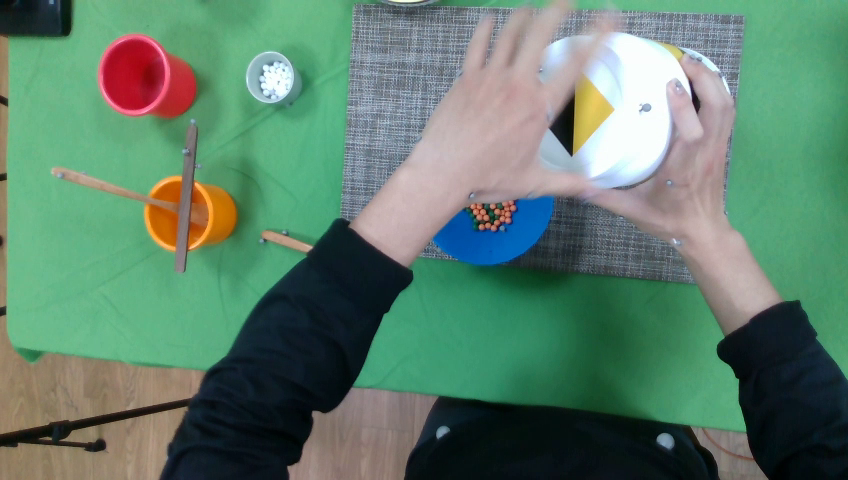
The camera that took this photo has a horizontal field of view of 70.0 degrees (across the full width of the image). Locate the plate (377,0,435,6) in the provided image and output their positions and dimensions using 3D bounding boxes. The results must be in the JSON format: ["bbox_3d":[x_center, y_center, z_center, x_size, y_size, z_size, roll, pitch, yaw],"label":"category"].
[{"bbox_3d":[-0.016,-0.377,0.710,0.209,0.038,0.209,1,94,10],"label":"plate"}]

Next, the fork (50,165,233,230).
[{"bbox_3d":[-0.334,-0.050,0.731,0.209,0.018,0.028,19,101,-35],"label":"fork"}]

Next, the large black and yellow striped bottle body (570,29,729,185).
[{"bbox_3d":[0.180,-0.117,0.550,0.130,0.185,0.131,10,104,43],"label":"large black and yellow striped bottle body"}]

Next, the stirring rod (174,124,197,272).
[{"bbox_3d":[-0.283,-0.049,0.719,0.014,0.006,0.176,7,95,8],"label":"stirring rod"}]

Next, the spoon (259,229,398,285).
[{"bbox_3d":[-0.122,0.015,0.762,0.193,0.021,0.042,16,110,8],"label":"spoon"}]

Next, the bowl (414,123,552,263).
[{"bbox_3d":[0.069,-0.051,0.691,0.151,0.077,0.151,1,94,10],"label":"bowl"}]

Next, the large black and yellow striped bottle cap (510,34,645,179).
[{"bbox_3d":[0.120,-0.107,0.490,0.114,0.019,0.115,11,106,41],"label":"large black and yellow striped bottle cap"}]

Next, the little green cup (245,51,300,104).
[{"bbox_3d":[-0.185,-0.198,0.751,0.061,0.038,0.061,1,94,11],"label":"little green cup"}]
